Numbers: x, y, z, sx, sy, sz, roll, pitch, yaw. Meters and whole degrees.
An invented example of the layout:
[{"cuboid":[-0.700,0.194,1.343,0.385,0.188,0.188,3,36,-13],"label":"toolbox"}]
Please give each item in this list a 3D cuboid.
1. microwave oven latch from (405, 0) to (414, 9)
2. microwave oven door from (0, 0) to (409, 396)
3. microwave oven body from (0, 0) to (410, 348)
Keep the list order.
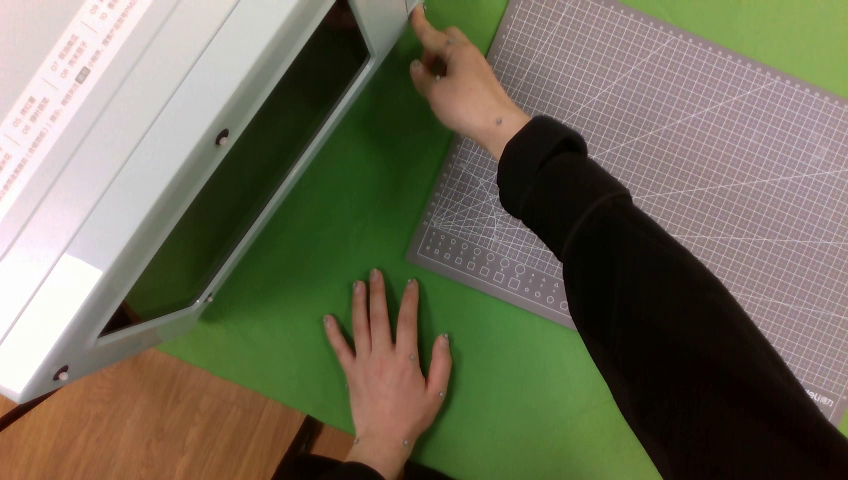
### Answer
[{"cuboid":[-0.001,-0.246,0.535,0.030,0.029,0.079,40,94,-2],"label":"microwave oven latch"},{"cuboid":[-0.135,-0.065,0.447,0.039,0.243,0.356,36,93,0],"label":"microwave oven door"},{"cuboid":[-0.227,-0.185,0.446,0.326,0.260,0.442,36,94,-2],"label":"microwave oven body"}]
